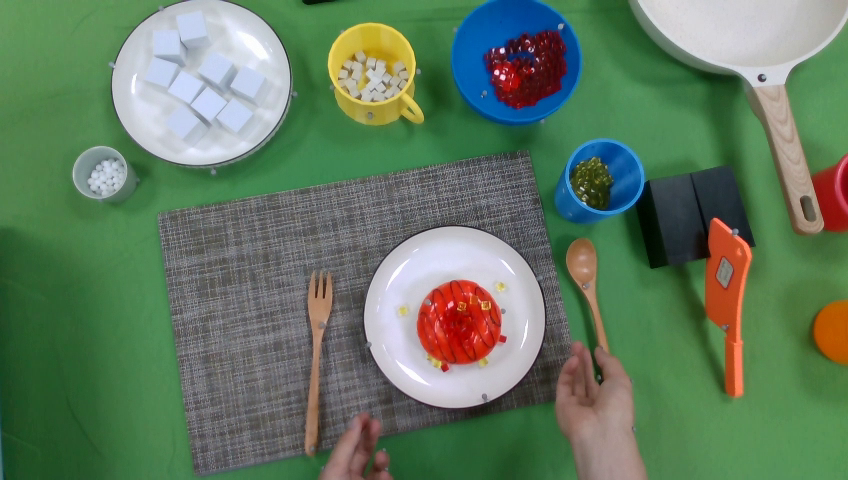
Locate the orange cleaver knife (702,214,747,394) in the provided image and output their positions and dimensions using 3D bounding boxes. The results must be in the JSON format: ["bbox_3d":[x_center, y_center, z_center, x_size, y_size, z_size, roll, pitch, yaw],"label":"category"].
[{"bbox_3d":[0.340,0.075,0.693,0.012,0.076,0.212,-11,111,-4],"label":"orange cleaver knife"}]

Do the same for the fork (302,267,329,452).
[{"bbox_3d":[-0.126,0.134,0.688,0.028,0.018,0.206,4,80,-11],"label":"fork"}]

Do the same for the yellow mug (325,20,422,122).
[{"bbox_3d":[-0.052,-0.188,0.717,0.130,0.064,0.100,42,83,3],"label":"yellow mug"}]

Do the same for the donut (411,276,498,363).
[{"bbox_3d":[0.034,0.090,0.682,0.099,0.048,0.099,0,86,-2],"label":"donut"}]

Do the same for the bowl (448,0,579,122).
[{"bbox_3d":[0.100,-0.203,0.721,0.151,0.077,0.151,0,82,-2],"label":"bowl"}]

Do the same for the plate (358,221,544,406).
[{"bbox_3d":[0.030,0.083,0.694,0.209,0.038,0.208,0,83,-3],"label":"plate"}]

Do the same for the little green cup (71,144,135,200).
[{"bbox_3d":[-0.367,-0.076,0.698,0.061,0.038,0.061,1,82,-4],"label":"little green cup"}]

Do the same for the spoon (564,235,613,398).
[{"bbox_3d":[0.198,0.089,0.713,0.042,0.021,0.193,-8,82,-24],"label":"spoon"}]

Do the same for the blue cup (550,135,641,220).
[{"bbox_3d":[0.187,-0.063,0.694,0.093,0.100,0.092,1,80,-4],"label":"blue cup"}]

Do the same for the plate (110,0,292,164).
[{"bbox_3d":[-0.260,-0.188,0.721,0.208,0.039,0.207,0,82,-3],"label":"plate"}]

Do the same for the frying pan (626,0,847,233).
[{"bbox_3d":[0.389,-0.241,0.728,0.307,0.103,0.485,-6,74,-3],"label":"frying pan"}]
